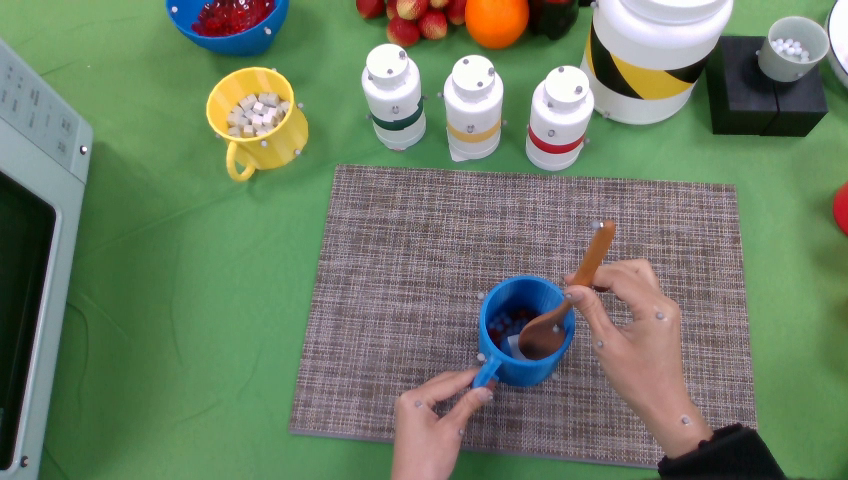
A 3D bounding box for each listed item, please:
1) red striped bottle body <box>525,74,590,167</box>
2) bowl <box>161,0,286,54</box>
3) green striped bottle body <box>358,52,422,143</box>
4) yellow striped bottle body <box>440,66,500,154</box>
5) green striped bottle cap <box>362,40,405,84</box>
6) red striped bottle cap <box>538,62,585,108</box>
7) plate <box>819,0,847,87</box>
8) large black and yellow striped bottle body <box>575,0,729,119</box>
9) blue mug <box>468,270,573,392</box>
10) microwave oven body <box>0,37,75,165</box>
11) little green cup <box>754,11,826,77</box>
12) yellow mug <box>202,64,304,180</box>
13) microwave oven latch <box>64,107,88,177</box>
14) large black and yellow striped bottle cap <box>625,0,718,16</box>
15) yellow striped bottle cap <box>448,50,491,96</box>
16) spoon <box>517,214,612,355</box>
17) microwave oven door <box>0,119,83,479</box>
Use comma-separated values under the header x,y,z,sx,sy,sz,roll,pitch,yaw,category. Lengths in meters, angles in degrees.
x,y,z,sx,sy,sz,roll,pitch,yaw,category
0.142,-0.134,0.648,0.063,0.120,0.062,-2,66,6,red striped bottle body
-0.239,-0.289,0.760,0.151,0.077,0.150,-1,69,3,bowl
-0.037,-0.164,0.673,0.063,0.120,0.062,-1,68,4,green striped bottle body
0.050,-0.150,0.661,0.063,0.121,0.062,-2,67,5,yellow striped bottle body
-0.042,-0.184,0.625,0.044,0.020,0.044,-1,68,2,green striped bottle cap
0.136,-0.154,0.600,0.044,0.018,0.044,0,67,0,red striped bottle cap
0.560,-0.227,0.697,0.209,0.038,0.207,-1,69,4,plate
0.238,-0.230,0.644,0.131,0.185,0.130,-2,68,4,large black and yellow striped bottle body
0.080,0.096,0.566,0.082,0.106,0.116,38,76,18,blue mug
-0.556,0.028,0.557,0.326,0.262,0.438,-5,69,2,microwave oven body
0.388,-0.207,0.647,0.061,0.039,0.061,0,66,1,little green cup
-0.201,-0.131,0.701,0.100,0.064,0.130,13,71,8,yellow mug
-0.414,-0.113,0.705,0.030,0.030,0.078,-4,69,2,microwave oven latch
0.231,-0.260,0.566,0.115,0.019,0.114,-2,67,4,large black and yellow striped bottle cap
0.046,-0.169,0.613,0.044,0.019,0.044,-1,70,3,yellow striped bottle cap
0.114,0.044,0.486,0.042,0.195,0.021,7,55,-4,spoon
-0.409,0.052,0.531,0.039,0.245,0.353,-5,68,3,microwave oven door
